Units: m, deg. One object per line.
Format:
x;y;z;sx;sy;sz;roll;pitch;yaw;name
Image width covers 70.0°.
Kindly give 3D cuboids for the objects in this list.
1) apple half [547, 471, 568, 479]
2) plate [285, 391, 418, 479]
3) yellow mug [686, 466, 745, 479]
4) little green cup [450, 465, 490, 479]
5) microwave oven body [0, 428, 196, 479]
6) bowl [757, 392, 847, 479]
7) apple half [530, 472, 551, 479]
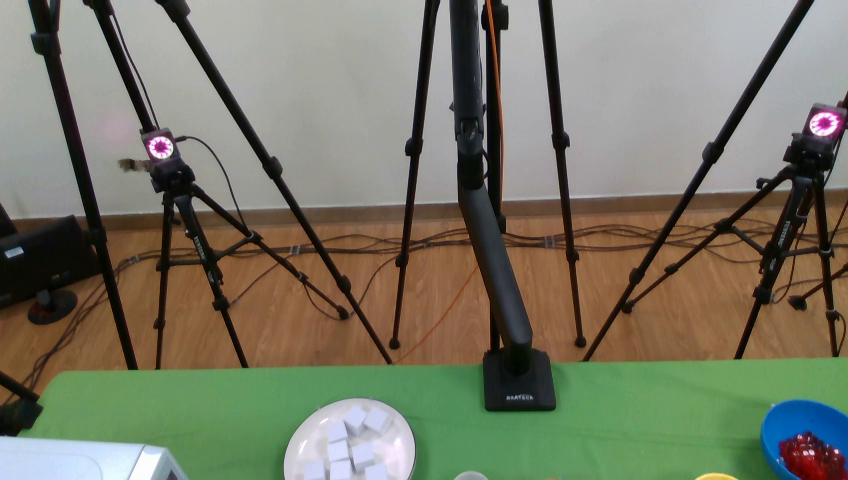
0.202;0.368;0.867;0.033;0.082;0.080;-18;44;-8;apple half
-0.113;0.337;0.959;0.207;0.039;0.205;-3;42;3;plate
0.394;0.382;0.839;0.131;0.064;0.099;-24;46;-18;yellow mug
0.069;0.372;0.903;0.061;0.039;0.061;-3;42;3;little green cup
-0.481;0.470;0.676;0.326;0.262;0.437;1;43;6;microwave oven body
0.565;0.309;0.894;0.151;0.077;0.150;-3;43;3;bowl
0.166;0.380;0.860;0.053;0.075;0.080;-18;47;-7;apple half
